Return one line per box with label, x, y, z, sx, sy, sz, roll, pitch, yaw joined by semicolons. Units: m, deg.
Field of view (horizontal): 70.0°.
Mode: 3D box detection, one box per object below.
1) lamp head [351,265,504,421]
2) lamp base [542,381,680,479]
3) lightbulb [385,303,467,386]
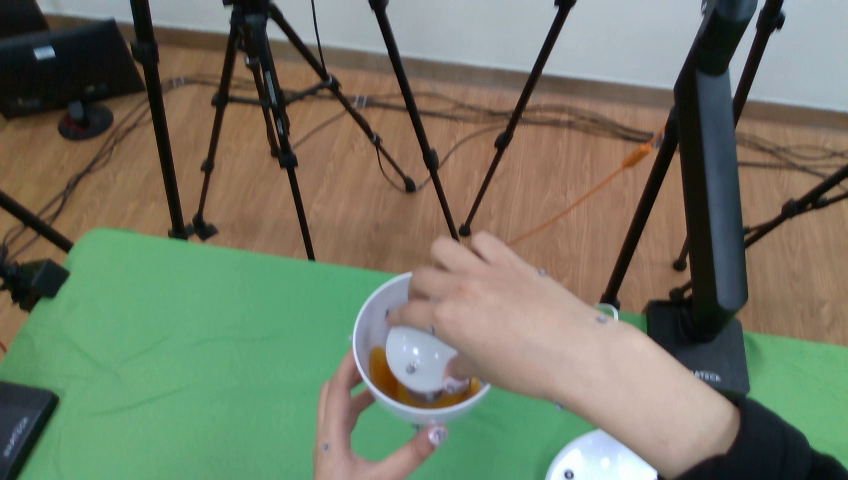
lamp head;0.007;0.094;0.484;0.112;0.124;0.111;-2;59;4
lamp base;0.210;0.231;0.616;0.161;0.182;0.177;-3;53;-3
lightbulb;0.001;0.086;0.460;0.059;0.108;0.059;0;64;0
